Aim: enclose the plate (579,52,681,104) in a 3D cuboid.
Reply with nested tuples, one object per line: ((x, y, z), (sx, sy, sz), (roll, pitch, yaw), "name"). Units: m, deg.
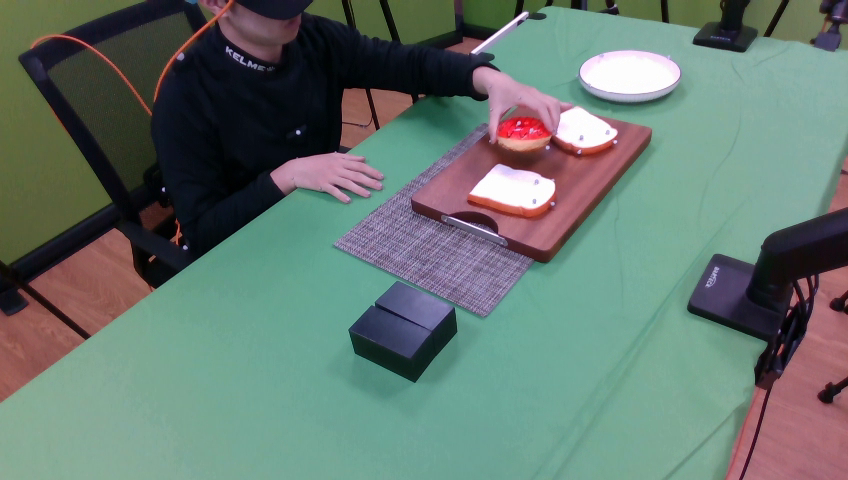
((0.437, -0.343, 1.294), (0.209, 0.038, 0.208), (-4, 40, 4), "plate")

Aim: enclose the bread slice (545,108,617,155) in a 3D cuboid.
((0.289, -0.200, 1.121), (0.107, 0.018, 0.133), (-27, 43, -21), "bread slice")

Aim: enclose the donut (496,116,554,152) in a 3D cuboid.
((0.173, -0.182, 1.040), (0.099, 0.048, 0.098), (-2, 29, 2), "donut")

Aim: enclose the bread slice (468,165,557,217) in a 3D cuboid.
((0.154, -0.082, 1.004), (0.130, 0.019, 0.105), (18, 48, 29), "bread slice")
